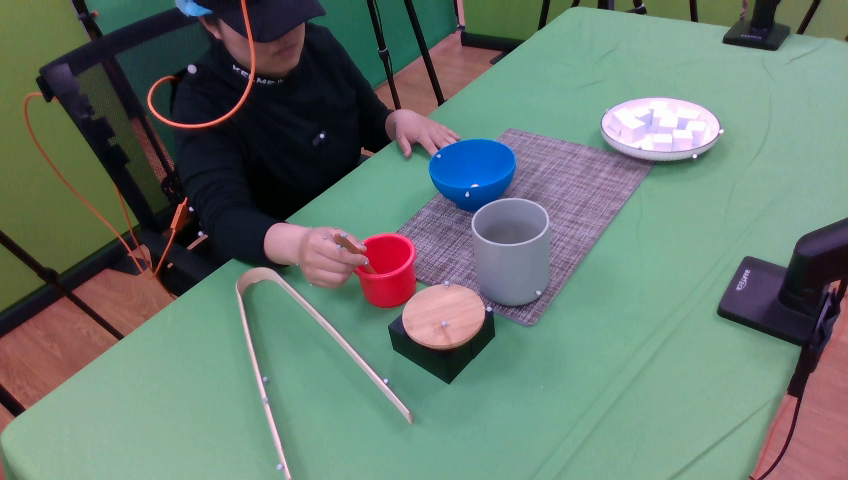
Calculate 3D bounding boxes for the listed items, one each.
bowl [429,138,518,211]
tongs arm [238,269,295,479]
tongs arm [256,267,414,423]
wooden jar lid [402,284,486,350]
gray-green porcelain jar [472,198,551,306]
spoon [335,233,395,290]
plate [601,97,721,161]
[{"bbox_3d":[0.087,-0.104,1.043,0.151,0.077,0.150,-5,40,5],"label":"bowl"},{"bbox_3d":[-0.208,0.163,0.824,0.051,0.026,0.381,-21,40,-16],"label":"tongs arm"},{"bbox_3d":[-0.137,0.133,0.853,0.028,0.028,0.384,-34,45,-23],"label":"tongs arm"},{"bbox_3d":[0.027,0.101,0.786,0.108,0.021,0.108,-5,39,4],"label":"wooden jar lid"},{"bbox_3d":[0.125,0.021,0.850,0.106,0.127,0.105,-6,40,5],"label":"gray-green porcelain jar"},{"bbox_3d":[-0.084,0.031,0.834,0.041,0.195,0.021,6,65,20],"label":"spoon"},{"bbox_3d":[0.437,-0.202,1.126,0.209,0.038,0.208,-5,39,5],"label":"plate"}]
